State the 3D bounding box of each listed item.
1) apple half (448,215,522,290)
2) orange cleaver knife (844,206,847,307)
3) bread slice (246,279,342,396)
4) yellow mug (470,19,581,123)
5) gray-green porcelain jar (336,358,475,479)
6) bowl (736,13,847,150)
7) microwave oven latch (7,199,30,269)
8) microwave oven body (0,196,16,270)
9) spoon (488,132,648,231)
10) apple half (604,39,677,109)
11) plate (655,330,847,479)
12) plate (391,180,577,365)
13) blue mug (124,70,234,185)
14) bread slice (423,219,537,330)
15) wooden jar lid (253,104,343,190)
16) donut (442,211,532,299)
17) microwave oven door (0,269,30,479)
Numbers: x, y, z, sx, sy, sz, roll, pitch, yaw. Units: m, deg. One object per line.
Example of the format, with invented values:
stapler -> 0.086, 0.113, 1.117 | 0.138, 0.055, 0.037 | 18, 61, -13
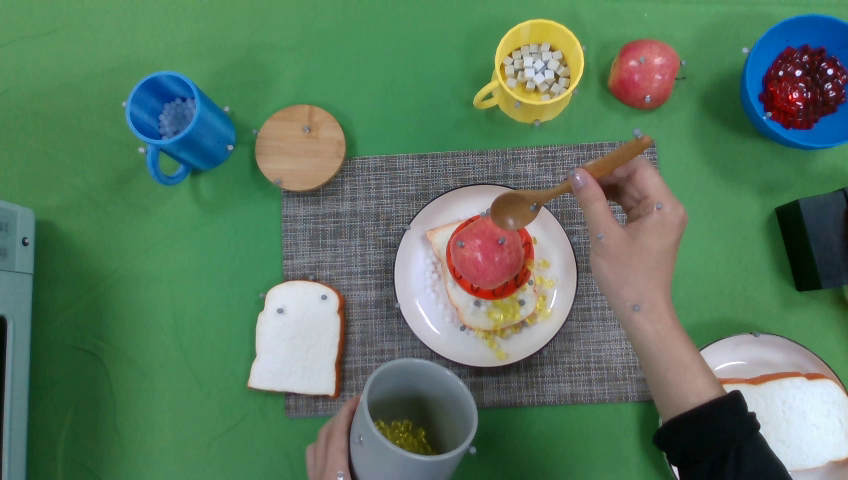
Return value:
apple half -> 0.064, 0.011, 0.628 | 0.081, 0.033, 0.081 | -2, 81, 9
orange cleaver knife -> 0.483, 0.064, 0.650 | 0.012, 0.077, 0.212 | -14, 104, -6
bread slice -> -0.148, 0.110, 0.700 | 0.105, 0.019, 0.131 | 5, 84, 2
yellow mug -> 0.113, -0.188, 0.706 | 0.131, 0.064, 0.099 | -27, 82, 0
gray-green porcelain jar -> -0.022, 0.190, 0.564 | 0.105, 0.105, 0.127 | 26, 127, 6
bowl -> 0.419, -0.167, 0.684 | 0.151, 0.077, 0.151 | 0, 83, 3
microwave oven latch -> -0.479, -0.007, 0.702 | 0.030, 0.029, 0.079 | 1, 83, 2
microwave oven body -> -0.623, 0.162, 0.590 | 0.326, 0.261, 0.440 | -3, 83, 2
spoon -> 0.115, -0.044, 0.514 | 0.042, 0.193, 0.021 | 42, 62, -11
apple half -> 0.256, -0.200, 0.708 | 0.074, 0.053, 0.080 | 19, 84, 7
plate -> 0.354, 0.203, 0.660 | 0.209, 0.038, 0.208 | 0, 83, 3
plate -> 0.066, 0.037, 0.690 | 0.207, 0.039, 0.207 | 0, 83, 3
blue mug -> -0.282, -0.119, 0.693 | 0.082, 0.106, 0.116 | 18, 84, 5
bread slice -> 0.072, 0.034, 0.691 | 0.107, 0.018, 0.134 | -20, 82, 0
wooden jar lid -> -0.149, -0.110, 0.727 | 0.108, 0.021, 0.108 | -1, 79, 3
donut -> 0.069, 0.016, 0.664 | 0.099, 0.048, 0.099 | 0, 83, 3
microwave oven door -> -0.477, 0.197, 0.574 | 0.039, 0.244, 0.354 | -3, 82, 2
